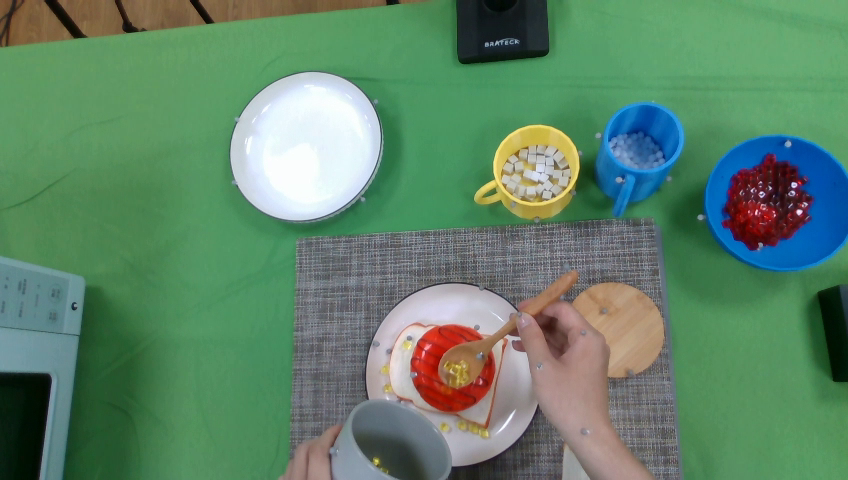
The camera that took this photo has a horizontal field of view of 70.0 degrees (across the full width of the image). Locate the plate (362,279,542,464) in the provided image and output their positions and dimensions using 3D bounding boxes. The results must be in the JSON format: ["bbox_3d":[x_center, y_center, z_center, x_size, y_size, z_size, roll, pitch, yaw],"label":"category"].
[{"bbox_3d":[0.033,0.150,0.707,0.209,0.038,0.208,-2,77,9],"label":"plate"}]

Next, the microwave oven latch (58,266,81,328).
[{"bbox_3d":[-0.470,0.075,0.790,0.030,0.029,0.079,1,79,9],"label":"microwave oven latch"}]

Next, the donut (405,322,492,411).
[{"bbox_3d":[0.027,0.141,0.681,0.099,0.048,0.098,-1,78,6],"label":"donut"}]

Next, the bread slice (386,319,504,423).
[{"bbox_3d":[0.020,0.149,0.712,0.131,0.019,0.104,11,80,9],"label":"bread slice"}]

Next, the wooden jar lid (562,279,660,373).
[{"bbox_3d":[0.214,0.099,0.697,0.108,0.021,0.108,-2,79,9],"label":"wooden jar lid"}]

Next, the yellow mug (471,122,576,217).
[{"bbox_3d":[0.117,-0.077,0.731,0.131,0.064,0.099,-24,74,5],"label":"yellow mug"}]

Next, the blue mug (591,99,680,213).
[{"bbox_3d":[0.234,-0.086,0.694,0.082,0.106,0.116,18,81,13],"label":"blue mug"}]

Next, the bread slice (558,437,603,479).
[{"bbox_3d":[0.157,0.261,0.617,0.018,0.135,0.106,5,77,2],"label":"bread slice"}]

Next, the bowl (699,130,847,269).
[{"bbox_3d":[0.377,-0.037,0.673,0.151,0.077,0.150,-2,78,9],"label":"bowl"}]

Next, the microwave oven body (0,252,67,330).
[{"bbox_3d":[-0.633,0.232,0.683,0.325,0.261,0.439,-2,78,9],"label":"microwave oven body"}]

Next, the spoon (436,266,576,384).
[{"bbox_3d":[0.077,0.085,0.587,0.041,0.022,0.194,52,127,10],"label":"spoon"}]

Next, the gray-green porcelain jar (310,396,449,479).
[{"bbox_3d":[-0.050,0.230,0.573,0.105,0.106,0.127,34,111,15],"label":"gray-green porcelain jar"}]

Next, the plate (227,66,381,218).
[{"bbox_3d":[-0.156,-0.127,0.801,0.207,0.039,0.206,-2,78,9],"label":"plate"}]

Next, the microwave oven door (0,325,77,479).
[{"bbox_3d":[-0.490,0.267,0.647,0.039,0.245,0.354,-2,77,9],"label":"microwave oven door"}]
